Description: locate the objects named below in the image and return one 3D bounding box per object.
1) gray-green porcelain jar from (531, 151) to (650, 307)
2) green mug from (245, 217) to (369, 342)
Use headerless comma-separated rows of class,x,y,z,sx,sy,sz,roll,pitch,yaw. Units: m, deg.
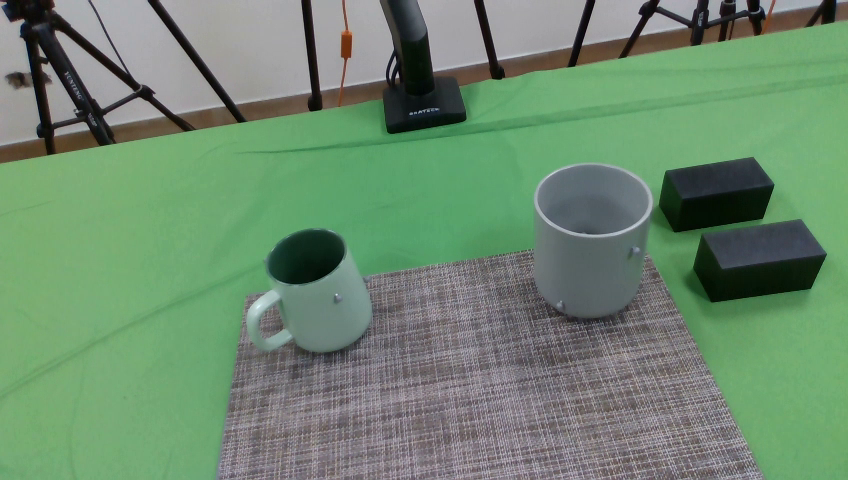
gray-green porcelain jar,0.158,-0.005,0.592,0.106,0.128,0.105,-5,45,6
green mug,-0.119,0.051,0.601,0.125,0.106,0.091,-39,52,-25
